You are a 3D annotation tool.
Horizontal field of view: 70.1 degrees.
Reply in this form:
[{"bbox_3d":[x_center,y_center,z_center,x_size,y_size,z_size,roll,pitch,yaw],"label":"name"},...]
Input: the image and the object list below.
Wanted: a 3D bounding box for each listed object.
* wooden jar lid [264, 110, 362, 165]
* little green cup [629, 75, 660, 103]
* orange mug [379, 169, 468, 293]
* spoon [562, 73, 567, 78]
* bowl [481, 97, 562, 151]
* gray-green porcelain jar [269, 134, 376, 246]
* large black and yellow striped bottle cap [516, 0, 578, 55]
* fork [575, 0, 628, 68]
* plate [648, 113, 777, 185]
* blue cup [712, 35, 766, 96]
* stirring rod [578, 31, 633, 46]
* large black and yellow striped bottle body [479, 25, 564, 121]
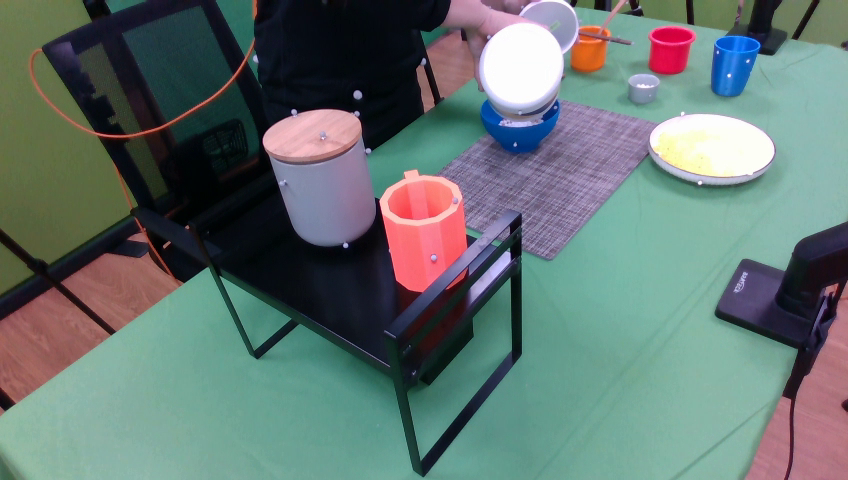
[{"bbox_3d":[-0.122,-0.112,0.673,0.108,0.021,0.108,-4,37,4],"label":"wooden jar lid"},{"bbox_3d":[0.457,-0.314,1.260,0.061,0.039,0.061,-4,40,4],"label":"little green cup"},{"bbox_3d":[-0.002,-0.019,0.665,0.083,0.101,0.125,-12,45,-4],"label":"orange mug"},{"bbox_3d":[0.250,-0.337,1.332,0.194,0.022,0.041,-32,32,-25],"label":"spoon"},{"bbox_3d":[0.187,-0.223,1.161,0.151,0.077,0.150,-4,40,4],"label":"bowl"},{"bbox_3d":[-0.115,-0.064,0.715,0.106,0.127,0.105,-4,40,4],"label":"gray-green porcelain jar"},{"bbox_3d":[0.227,-0.389,1.123,0.115,0.115,0.018,-1,50,8],"label":"large black and yellow striped bottle cap"},{"bbox_3d":[0.413,-0.481,1.377,0.207,0.019,0.028,-56,43,12],"label":"fork"},{"bbox_3d":[0.506,-0.158,1.073,0.209,0.038,0.208,-5,40,4],"label":"plate"},{"bbox_3d":[0.627,-0.350,1.227,0.092,0.100,0.092,-4,39,4],"label":"blue cup"},{"bbox_3d":[0.382,-0.453,1.345,0.174,0.006,0.014,27,52,33],"label":"stirring rod"},{"bbox_3d":[0.167,-0.273,1.020,0.130,0.130,0.184,2,4,11],"label":"large black and yellow striped bottle body"}]
